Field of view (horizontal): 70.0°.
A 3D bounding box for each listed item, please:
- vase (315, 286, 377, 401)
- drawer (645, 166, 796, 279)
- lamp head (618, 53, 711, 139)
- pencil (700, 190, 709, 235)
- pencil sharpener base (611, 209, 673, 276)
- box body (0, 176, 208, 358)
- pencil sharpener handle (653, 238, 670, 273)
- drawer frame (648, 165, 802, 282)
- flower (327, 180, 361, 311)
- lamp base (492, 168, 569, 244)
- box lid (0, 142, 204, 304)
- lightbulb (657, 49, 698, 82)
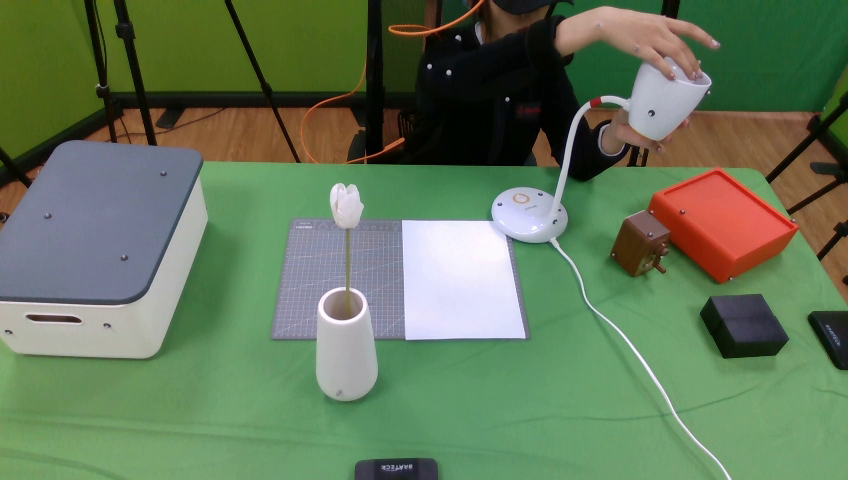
[{"bbox_3d":[-0.119,0.159,0.911,0.098,0.201,0.097,2,47,-2],"label":"vase"},{"bbox_3d":[0.600,-0.041,1.236,0.195,0.073,0.210,-21,51,-23],"label":"drawer"},{"bbox_3d":[0.377,-0.228,0.979,0.112,0.123,0.111,14,39,-11],"label":"lamp head"},{"bbox_3d":[0.583,-0.058,1.257,0.012,0.012,0.193,16,35,12],"label":"pencil"},{"bbox_3d":[0.416,0.007,1.158,0.061,0.107,0.076,-21,51,-22],"label":"pencil sharpener base"},{"bbox_3d":[-0.546,0.017,1.045,0.254,0.161,0.361,2,46,-2],"label":"box body"},{"bbox_3d":[0.444,0.030,1.120,0.036,0.068,0.030,-25,52,-18],"label":"pencil sharpener handle"},{"bbox_3d":[0.603,-0.040,1.234,0.202,0.083,0.212,-21,51,-23],"label":"drawer frame"},{"bbox_3d":[-0.110,0.086,0.867,0.044,0.363,0.038,22,33,35],"label":"flower"},{"bbox_3d":[0.233,-0.101,1.200,0.161,0.181,0.178,-24,56,-25],"label":"lamp base"},{"bbox_3d":[-0.534,-0.044,0.995,0.263,0.015,0.369,3,45,-3],"label":"box lid"},{"bbox_3d":[0.394,-0.252,0.971,0.059,0.108,0.059,15,32,-9],"label":"lightbulb"}]
